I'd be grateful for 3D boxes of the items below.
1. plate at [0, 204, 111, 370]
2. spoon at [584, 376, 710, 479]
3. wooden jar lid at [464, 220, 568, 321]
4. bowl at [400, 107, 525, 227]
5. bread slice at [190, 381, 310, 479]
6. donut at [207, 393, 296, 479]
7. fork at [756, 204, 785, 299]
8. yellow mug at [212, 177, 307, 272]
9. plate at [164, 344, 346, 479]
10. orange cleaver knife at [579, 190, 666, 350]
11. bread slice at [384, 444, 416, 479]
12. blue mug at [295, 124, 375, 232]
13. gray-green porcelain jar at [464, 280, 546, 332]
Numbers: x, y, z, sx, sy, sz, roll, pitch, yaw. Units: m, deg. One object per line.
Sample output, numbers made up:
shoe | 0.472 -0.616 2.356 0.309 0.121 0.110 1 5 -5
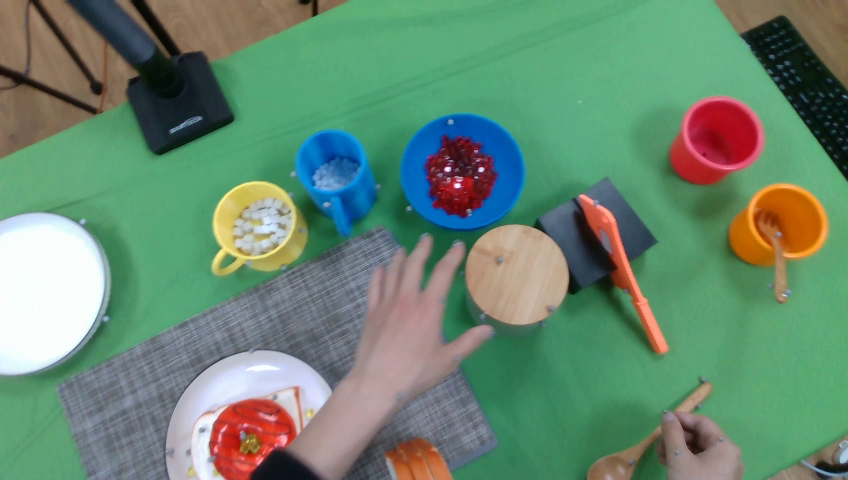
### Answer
plate | -0.492 0.058 0.761 0.207 0.039 0.206 0 75 2
spoon | 0.263 0.221 0.702 0.193 0.022 0.041 -37 59 -8
wooden jar lid | 0.096 0.032 0.639 0.108 0.021 0.108 0 77 -1
bowl | 0.047 -0.080 0.759 0.151 0.077 0.150 0 76 2
bread slice | -0.205 0.231 0.707 0.132 0.019 0.104 -13 75 -6
donut | -0.191 0.221 0.676 0.099 0.048 0.098 0 76 -1
fork | 0.396 0.008 0.688 0.028 0.019 0.206 35 35 4
yellow mug | -0.214 -0.010 0.755 0.099 0.064 0.130 40 81 11
plate | -0.192 0.226 0.704 0.209 0.038 0.208 0 75 2
orange cleaver knife | 0.235 0.036 0.721 0.012 0.076 0.212 -29 106 -5
bread slice | -0.017 0.268 0.642 0.018 0.135 0.106 -18 73 -11
blue mug | -0.105 -0.068 0.747 0.082 0.106 0.116 -7 75 0
gray-green porcelain jar | 0.100 0.049 0.699 0.106 0.127 0.105 0 75 2
